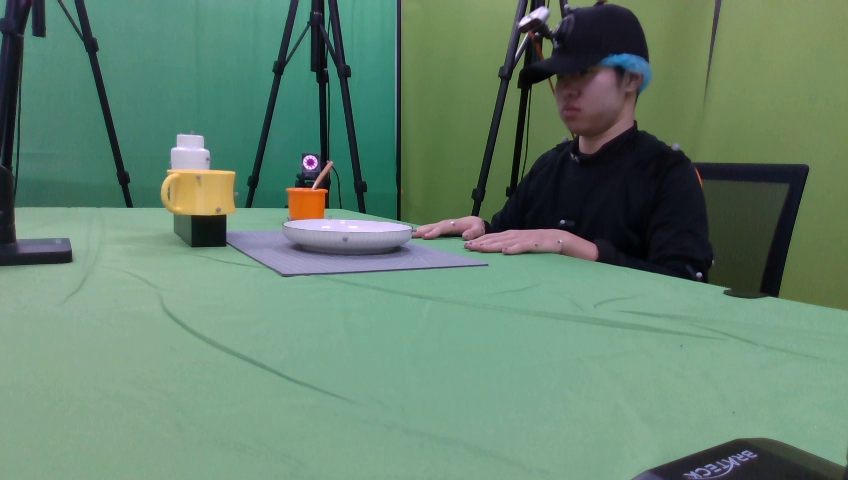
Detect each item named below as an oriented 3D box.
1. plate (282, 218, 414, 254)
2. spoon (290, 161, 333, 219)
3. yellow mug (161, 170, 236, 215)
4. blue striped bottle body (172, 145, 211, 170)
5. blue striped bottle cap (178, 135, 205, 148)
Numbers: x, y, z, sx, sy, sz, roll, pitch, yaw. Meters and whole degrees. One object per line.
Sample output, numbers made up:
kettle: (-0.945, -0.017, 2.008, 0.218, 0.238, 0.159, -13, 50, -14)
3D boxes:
plate: (-0.121, -0.007, 0.971, 0.208, 0.039, 0.207, 2, 7, 0)
spoon: (-0.251, -0.117, 1.381, 0.041, 0.193, 0.022, 4, -37, 26)
yellow mug: (-0.353, -0.074, 0.935, 0.099, 0.064, 0.131, 5, 9, 21)
blue striped bottle body: (-0.407, -0.120, 1.059, 0.063, 0.120, 0.063, 3, 8, 0)
blue striped bottle cap: (-0.405, -0.171, 1.053, 0.044, 0.020, 0.044, 3, 10, 0)
